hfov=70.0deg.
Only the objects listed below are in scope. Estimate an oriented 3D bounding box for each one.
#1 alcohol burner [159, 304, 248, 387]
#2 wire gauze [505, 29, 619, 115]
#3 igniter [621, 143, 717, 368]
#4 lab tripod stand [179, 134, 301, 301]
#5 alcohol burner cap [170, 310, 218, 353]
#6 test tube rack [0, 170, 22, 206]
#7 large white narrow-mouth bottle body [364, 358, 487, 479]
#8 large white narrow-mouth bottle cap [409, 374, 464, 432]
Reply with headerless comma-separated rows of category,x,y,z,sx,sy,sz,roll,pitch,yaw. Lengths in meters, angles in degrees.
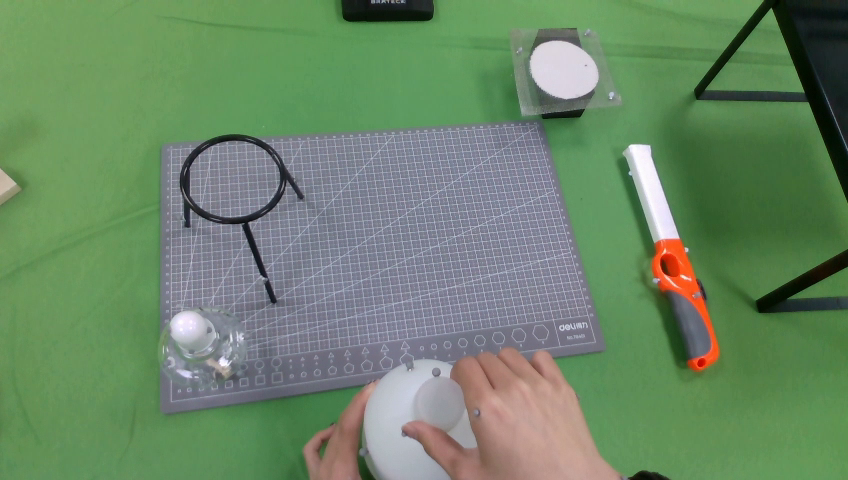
alcohol burner,-0.201,0.090,0.545,0.078,0.120,0.077,4,64,-7
wire gauze,0.164,-0.208,0.733,0.122,0.011,0.124,-4,67,-9
igniter,0.279,0.009,0.695,0.057,0.025,0.274,-1,66,-19
lab tripod stand,-0.173,-0.026,0.589,0.149,0.132,0.147,4,66,-8
alcohol burner cap,-0.196,0.076,0.511,0.034,0.048,0.033,2,71,-6
test tube rack,-0.523,-0.010,0.564,0.066,0.085,0.242,39,67,11
large white narrow-mouth bottle body,0.000,0.153,0.502,0.102,0.196,0.101,2,65,-5
large white narrow-mouth bottle cap,0.008,0.112,0.418,0.038,0.024,0.037,3,65,-5
